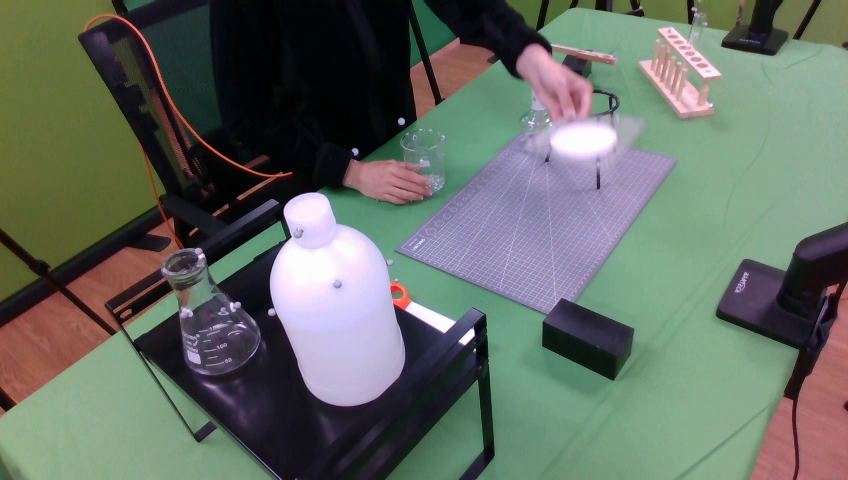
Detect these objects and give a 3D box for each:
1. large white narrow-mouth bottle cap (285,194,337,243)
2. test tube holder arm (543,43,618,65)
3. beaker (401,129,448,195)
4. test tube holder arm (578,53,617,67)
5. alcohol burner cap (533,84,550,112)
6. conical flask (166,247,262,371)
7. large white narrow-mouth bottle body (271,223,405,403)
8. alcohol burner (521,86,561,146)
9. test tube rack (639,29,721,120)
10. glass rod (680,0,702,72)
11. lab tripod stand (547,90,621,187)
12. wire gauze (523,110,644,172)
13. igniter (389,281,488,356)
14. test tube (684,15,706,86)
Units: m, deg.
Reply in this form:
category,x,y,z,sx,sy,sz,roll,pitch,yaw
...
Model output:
category,x,y,z,sx,sy,sz,roll,pitch,yaw
large white narrow-mouth bottle cap,-0.087,-0.017,0.468,0.038,0.024,0.037,-5,40,4
test tube holder arm,0.345,-0.413,1.340,0.177,0.015,0.013,25,50,31
beaker,0.005,-0.140,1.087,0.084,0.101,0.073,-14,41,-8
test tube holder arm,0.376,-0.393,1.314,0.087,0.015,0.010,26,50,32
alcohol burner cap,0.218,-0.268,1.133,0.034,0.048,0.033,-8,36,7
conical flask,-0.208,0.064,0.585,0.075,0.122,0.075,-5,40,4
large white narrow-mouth bottle body,-0.077,0.048,0.525,0.102,0.195,0.101,-5,40,5
alcohol burner,0.223,-0.241,1.155,0.078,0.119,0.077,-5,43,5
test tube rack,0.527,-0.351,1.262,0.067,0.085,0.241,-8,40,1
glass rod,0.542,-0.417,1.233,0.008,0.200,0.008,1,40,0
lab tripod stand,0.289,-0.184,1.062,0.148,0.132,0.147,-6,41,6
wire gauze,0.214,-0.139,0.811,0.124,0.011,0.122,21,49,34
igniter,-0.030,0.095,0.872,0.274,0.025,0.057,23,59,31
test tube,0.540,-0.378,1.215,0.017,0.151,0.017,-2,44,3
